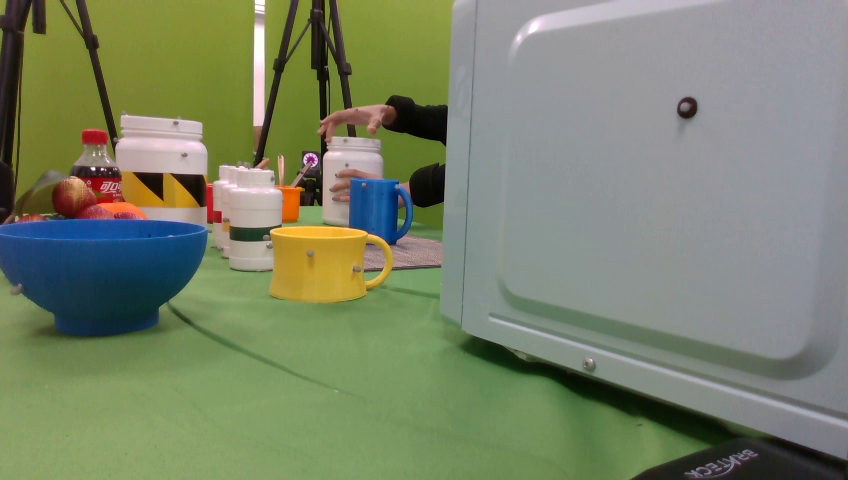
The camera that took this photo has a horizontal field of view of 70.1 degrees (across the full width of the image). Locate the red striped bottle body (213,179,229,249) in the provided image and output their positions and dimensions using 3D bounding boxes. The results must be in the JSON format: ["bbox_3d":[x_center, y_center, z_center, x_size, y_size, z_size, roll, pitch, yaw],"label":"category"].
[{"bbox_3d":[-0.284,-0.048,0.909,0.063,0.119,0.063,3,10,0],"label":"red striped bottle body"}]

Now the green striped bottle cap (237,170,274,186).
[{"bbox_3d":[-0.205,-0.075,0.737,0.044,0.020,0.044,1,6,0],"label":"green striped bottle cap"}]

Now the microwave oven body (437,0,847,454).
[{"bbox_3d":[0.279,-0.040,0.464,0.444,0.260,0.324,-3,8,-41],"label":"microwave oven body"}]

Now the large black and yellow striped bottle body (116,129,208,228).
[{"bbox_3d":[-0.404,-0.089,0.937,0.131,0.184,0.130,3,7,0],"label":"large black and yellow striped bottle body"}]

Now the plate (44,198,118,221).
[{"bbox_3d":[-0.617,-0.056,1.179,0.209,0.038,0.209,3,7,0],"label":"plate"}]

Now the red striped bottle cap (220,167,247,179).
[{"bbox_3d":[-0.281,-0.099,0.901,0.044,0.017,0.044,-1,5,0],"label":"red striped bottle cap"}]

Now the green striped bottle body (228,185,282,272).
[{"bbox_3d":[-0.208,-0.023,0.745,0.063,0.119,0.063,2,7,0],"label":"green striped bottle body"}]

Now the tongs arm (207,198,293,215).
[{"bbox_3d":[-0.423,-0.084,1.473,0.050,0.026,0.386,1,6,21],"label":"tongs arm"}]

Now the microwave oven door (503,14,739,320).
[{"bbox_3d":[0.217,-0.065,0.601,0.358,0.243,0.039,-4,10,-41],"label":"microwave oven door"}]

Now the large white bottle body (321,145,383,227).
[{"bbox_3d":[-0.154,-0.125,1.301,0.131,0.184,0.130,2,8,0],"label":"large white bottle body"}]

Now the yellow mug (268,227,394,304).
[{"bbox_3d":[-0.094,0.023,0.629,0.131,0.064,0.099,0,7,-22],"label":"yellow mug"}]

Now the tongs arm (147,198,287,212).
[{"bbox_3d":[-0.503,-0.090,1.513,0.028,0.028,0.389,-1,3,38],"label":"tongs arm"}]

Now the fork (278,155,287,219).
[{"bbox_3d":[-0.318,-0.120,1.342,0.028,0.018,0.206,-1,52,-12],"label":"fork"}]

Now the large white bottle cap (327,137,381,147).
[{"bbox_3d":[-0.149,-0.209,1.289,0.115,0.018,0.115,3,8,0],"label":"large white bottle cap"}]

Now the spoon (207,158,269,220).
[{"bbox_3d":[-0.380,-0.108,1.251,0.041,0.022,0.194,5,51,38],"label":"spoon"}]

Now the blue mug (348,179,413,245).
[{"bbox_3d":[-0.071,-0.047,1.002,0.116,0.106,0.082,7,9,26],"label":"blue mug"}]

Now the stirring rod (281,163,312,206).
[{"bbox_3d":[-0.292,-0.111,1.324,0.014,0.006,0.176,2,47,29],"label":"stirring rod"}]

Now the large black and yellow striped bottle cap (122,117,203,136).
[{"bbox_3d":[-0.399,-0.174,0.927,0.115,0.019,0.115,5,9,-1],"label":"large black and yellow striped bottle cap"}]

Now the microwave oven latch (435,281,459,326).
[{"bbox_3d":[0.044,0.046,0.470,0.079,0.029,0.030,-3,8,-40],"label":"microwave oven latch"}]

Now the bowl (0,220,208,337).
[{"bbox_3d":[-0.251,0.029,0.479,0.151,0.077,0.151,3,7,0],"label":"bowl"}]

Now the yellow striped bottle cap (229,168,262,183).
[{"bbox_3d":[-0.240,-0.087,0.816,0.044,0.018,0.044,-2,5,1],"label":"yellow striped bottle cap"}]

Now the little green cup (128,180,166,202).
[{"bbox_3d":[-0.485,-0.087,1.062,0.061,0.038,0.061,-1,6,0],"label":"little green cup"}]

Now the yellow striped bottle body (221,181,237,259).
[{"bbox_3d":[-0.244,-0.036,0.824,0.063,0.120,0.063,2,8,0],"label":"yellow striped bottle body"}]
